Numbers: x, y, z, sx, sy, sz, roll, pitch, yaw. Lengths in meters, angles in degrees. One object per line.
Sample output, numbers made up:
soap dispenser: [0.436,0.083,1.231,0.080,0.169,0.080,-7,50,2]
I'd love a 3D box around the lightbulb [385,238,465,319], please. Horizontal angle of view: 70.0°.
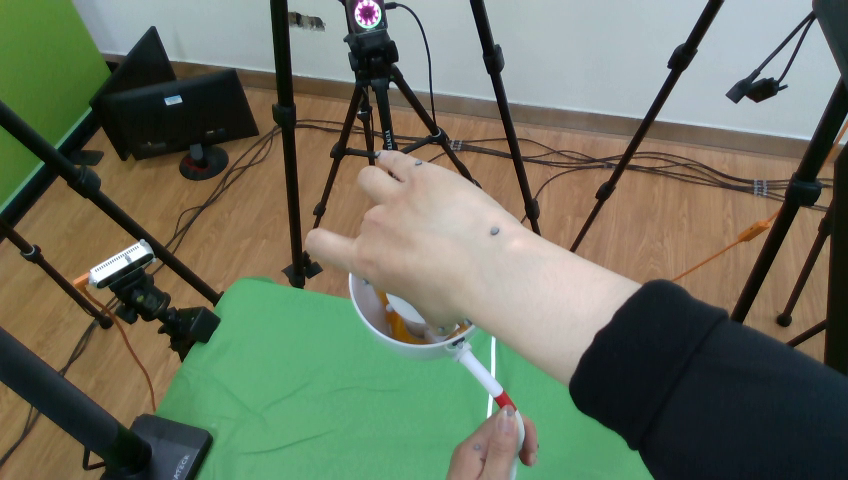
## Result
lightbulb: [0.000,0.037,0.471,0.059,0.108,0.059,1,69,-3]

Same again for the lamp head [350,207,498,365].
lamp head: [0.004,0.051,0.500,0.112,0.124,0.111,-2,60,4]

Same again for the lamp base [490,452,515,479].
lamp base: [0.104,0.310,0.641,0.161,0.182,0.177,-22,51,-12]
